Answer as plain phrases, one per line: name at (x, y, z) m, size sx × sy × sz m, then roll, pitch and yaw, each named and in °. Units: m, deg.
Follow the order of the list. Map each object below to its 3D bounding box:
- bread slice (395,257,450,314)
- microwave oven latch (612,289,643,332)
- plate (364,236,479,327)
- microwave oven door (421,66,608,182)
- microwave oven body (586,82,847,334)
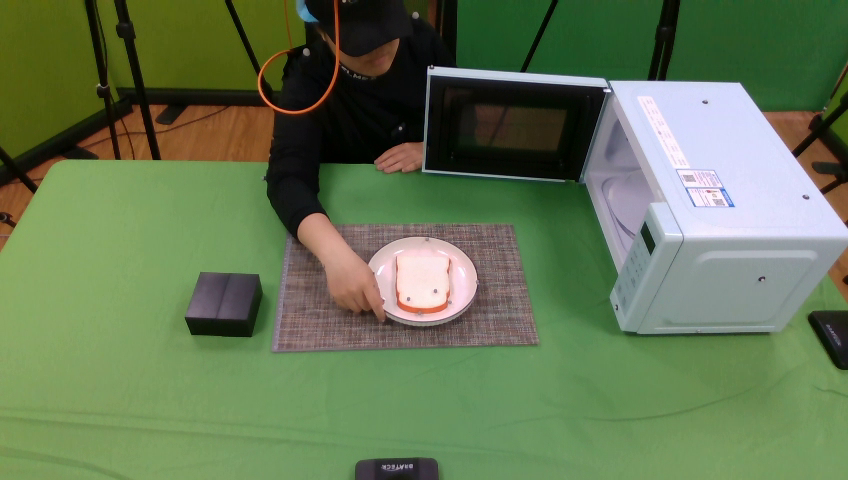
bread slice at (-0.001, 0.080, 1.109) m, size 0.105 × 0.019 × 0.130 m, roll 1°, pitch 44°, yaw -2°
microwave oven latch at (0.357, 0.124, 1.068) m, size 0.030 × 0.029 × 0.078 m, roll 0°, pitch 45°, yaw -3°
plate at (-0.005, 0.078, 1.107) m, size 0.209 × 0.038 × 0.208 m, roll 2°, pitch 46°, yaw -2°
microwave oven door at (0.177, -0.236, 1.263) m, size 0.356 × 0.245 × 0.039 m, roll 4°, pitch 46°, yaw 0°
microwave oven body at (0.501, -0.070, 1.132) m, size 0.326 × 0.261 × 0.438 m, roll -1°, pitch 45°, yaw -3°
